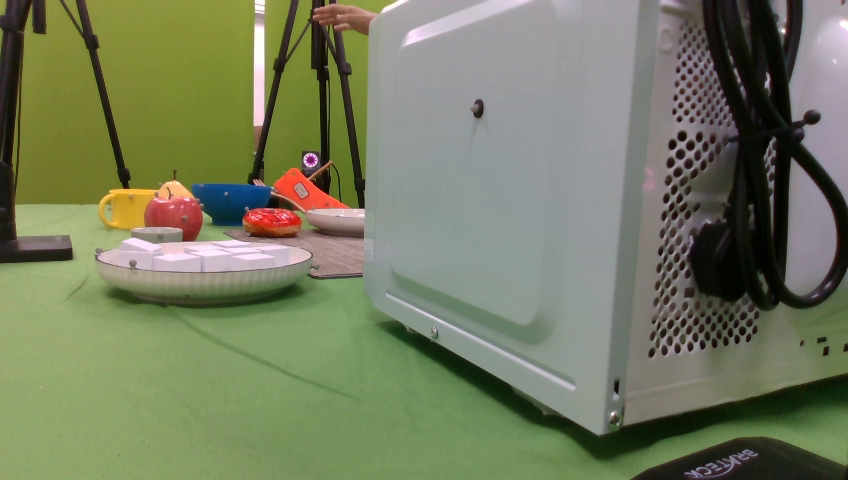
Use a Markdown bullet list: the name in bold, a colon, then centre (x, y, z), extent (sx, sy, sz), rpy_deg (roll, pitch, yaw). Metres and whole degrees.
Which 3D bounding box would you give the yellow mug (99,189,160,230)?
- **yellow mug**: centre (-0.519, -0.055, 1.080), extent (0.099, 0.064, 0.131), rpy_deg (7, 9, 26)

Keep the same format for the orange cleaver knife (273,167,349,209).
- **orange cleaver knife**: centre (-0.237, -0.087, 1.358), extent (0.211, 0.077, 0.012), rpy_deg (32, 4, -3)

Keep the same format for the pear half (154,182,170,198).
- **pear half**: centre (-0.435, -0.053, 1.006), extent (0.031, 0.088, 0.070), rpy_deg (3, 12, 0)

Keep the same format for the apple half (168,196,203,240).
- **apple half**: centre (-0.365, -0.033, 0.928), extent (0.081, 0.081, 0.033), rpy_deg (5, 11, 18)

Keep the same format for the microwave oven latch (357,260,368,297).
- **microwave oven latch**: centre (-0.019, 0.033, 0.531), extent (0.079, 0.029, 0.030), rpy_deg (-1, 7, -27)

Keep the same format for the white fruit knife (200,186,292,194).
- **white fruit knife**: centre (-0.399, -0.111, 1.368), extent (0.208, 0.016, 0.027), rpy_deg (-4, -19, -29)

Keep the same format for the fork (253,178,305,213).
- **fork**: centre (-0.294, -0.084, 1.293), extent (0.206, 0.018, 0.028), rpy_deg (29, 12, 26)

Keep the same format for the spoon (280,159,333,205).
- **spoon**: centre (-0.316, -0.158, 1.639), extent (0.194, 0.022, 0.041), rpy_deg (-49, 32, -20)

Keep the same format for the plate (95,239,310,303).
- **plate**: centre (-0.224, 0.031, 0.629), extent (0.208, 0.039, 0.207), rpy_deg (2, 8, 0)

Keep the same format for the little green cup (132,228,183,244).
- **little green cup**: centre (-0.342, 0.006, 0.779), extent (0.061, 0.038, 0.061), rpy_deg (2, 8, 0)

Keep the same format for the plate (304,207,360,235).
- **plate**: centre (-0.123, -0.037, 1.149), extent (0.209, 0.038, 0.209), rpy_deg (2, 7, 0)

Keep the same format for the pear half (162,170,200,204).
- **pear half**: centre (-0.399, -0.061, 1.002), extent (0.056, 0.110, 0.076), rpy_deg (2, 11, 1)

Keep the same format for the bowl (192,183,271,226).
- **bowl**: centre (-0.381, -0.070, 1.203), extent (0.151, 0.077, 0.151), rpy_deg (3, 7, 0)

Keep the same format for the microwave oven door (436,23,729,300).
- **microwave oven door**: centre (0.180, -0.072, 0.621), extent (0.358, 0.243, 0.039), rpy_deg (-2, 9, -29)

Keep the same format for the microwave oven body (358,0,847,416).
- **microwave oven body**: centre (0.211, -0.047, 0.475), extent (0.444, 0.260, 0.324), rpy_deg (-1, 8, -28)

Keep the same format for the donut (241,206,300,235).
- **donut**: centre (-0.263, -0.032, 1.039), extent (0.099, 0.048, 0.099), rpy_deg (4, 9, 0)

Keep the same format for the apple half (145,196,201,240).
- **apple half**: centre (-0.377, -0.027, 0.891), extent (0.080, 0.074, 0.053), rpy_deg (8, 12, 18)
